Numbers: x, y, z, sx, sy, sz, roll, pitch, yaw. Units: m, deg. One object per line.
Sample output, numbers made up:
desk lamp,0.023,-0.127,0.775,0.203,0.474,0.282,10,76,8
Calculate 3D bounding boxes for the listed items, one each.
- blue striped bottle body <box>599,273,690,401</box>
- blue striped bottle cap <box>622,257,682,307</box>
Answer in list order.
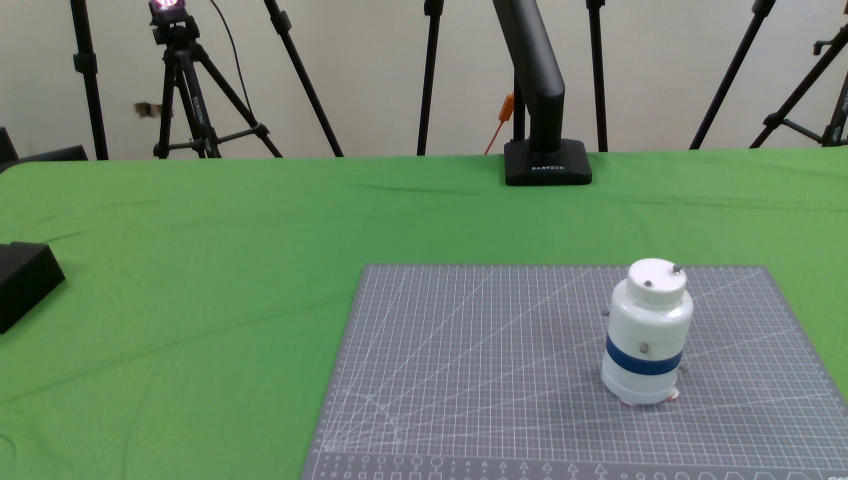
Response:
blue striped bottle body,0.186,0.074,0.512,0.063,0.122,0.062,-3,36,2
blue striped bottle cap,0.182,0.033,0.483,0.044,0.021,0.044,-2,35,2
